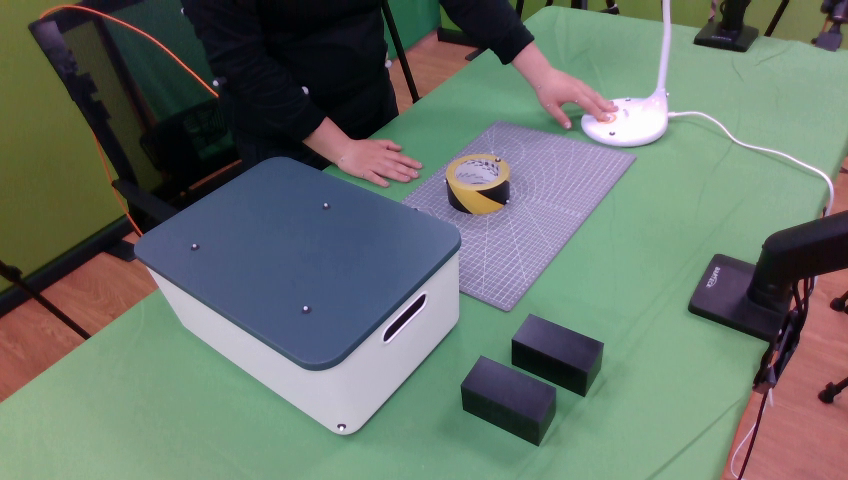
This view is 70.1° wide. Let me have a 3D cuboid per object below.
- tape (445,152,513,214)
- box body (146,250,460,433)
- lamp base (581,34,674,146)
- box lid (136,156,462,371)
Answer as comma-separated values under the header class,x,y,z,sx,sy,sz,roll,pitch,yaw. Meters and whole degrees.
class,x,y,z,sx,sy,sz,roll,pitch,yaw
tape,0.095,-0.099,1.043,0.117,0.053,0.116,-4,41,4
box body,-0.156,0.059,0.815,0.361,0.161,0.255,24,49,31
lamp base,0.392,-0.290,1.129,0.180,0.181,0.159,-11,41,-8
box lid,-0.162,0.004,0.765,0.368,0.015,0.264,23,49,31
